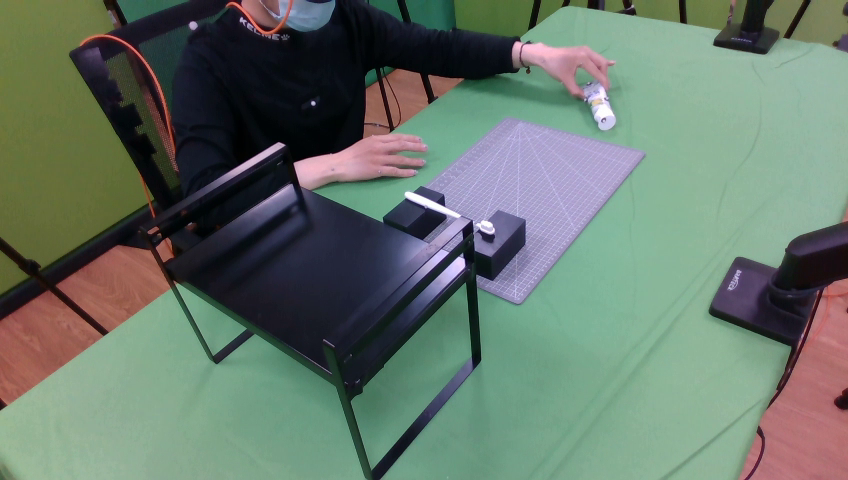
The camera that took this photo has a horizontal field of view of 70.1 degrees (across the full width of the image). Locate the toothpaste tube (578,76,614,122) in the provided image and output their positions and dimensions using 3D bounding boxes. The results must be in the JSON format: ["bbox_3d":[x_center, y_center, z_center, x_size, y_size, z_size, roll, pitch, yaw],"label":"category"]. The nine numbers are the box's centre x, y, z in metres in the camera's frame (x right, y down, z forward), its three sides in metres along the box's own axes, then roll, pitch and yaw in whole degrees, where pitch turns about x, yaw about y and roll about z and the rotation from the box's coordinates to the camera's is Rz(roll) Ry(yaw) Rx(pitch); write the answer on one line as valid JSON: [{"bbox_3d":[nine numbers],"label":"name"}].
[{"bbox_3d":[0.357,-0.287,1.237,0.055,0.035,0.164,-20,40,15],"label":"toothpaste tube"}]

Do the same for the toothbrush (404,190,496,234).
[{"bbox_3d":[0.036,-0.047,0.942,0.180,0.017,0.014,25,62,34],"label":"toothbrush"}]

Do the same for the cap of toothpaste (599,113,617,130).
[{"bbox_3d":[0.357,-0.232,1.177,0.037,0.037,0.011,-13,43,-7],"label":"cap of toothpaste"}]
